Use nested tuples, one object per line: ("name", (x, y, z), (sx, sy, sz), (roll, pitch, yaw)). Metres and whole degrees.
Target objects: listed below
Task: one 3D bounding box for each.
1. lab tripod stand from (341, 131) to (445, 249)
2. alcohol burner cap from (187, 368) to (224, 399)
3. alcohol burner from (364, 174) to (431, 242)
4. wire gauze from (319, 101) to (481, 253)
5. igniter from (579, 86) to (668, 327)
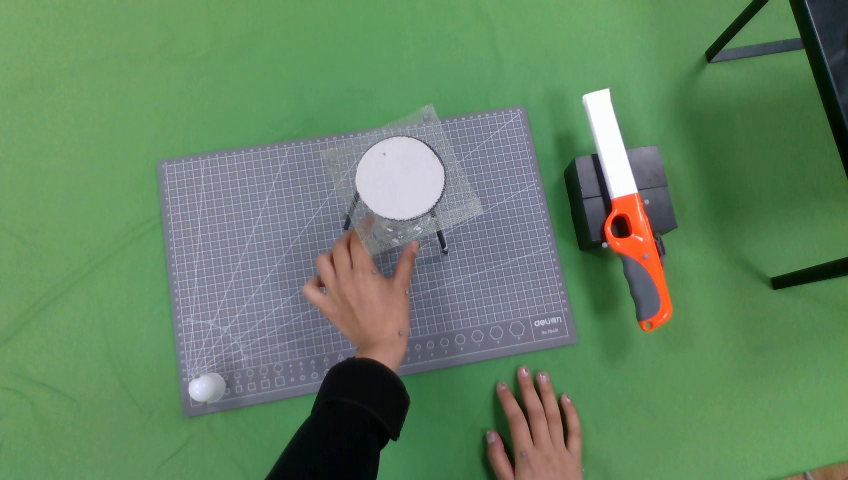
("lab tripod stand", (-0.027, -0.056, 0.658), (0.148, 0.132, 0.147), (0, 77, -1))
("alcohol burner cap", (-0.238, 0.155, 0.653), (0.034, 0.048, 0.033), (0, 76, -1))
("alcohol burner", (-0.028, -0.039, 0.664), (0.078, 0.119, 0.077), (1, 81, -3))
("wire gauze", (-0.024, -0.062, 0.591), (0.125, 0.011, 0.121), (-23, 81, -7))
("igniter", (0.222, -0.041, 0.677), (0.057, 0.025, 0.275), (-13, 79, 6))
